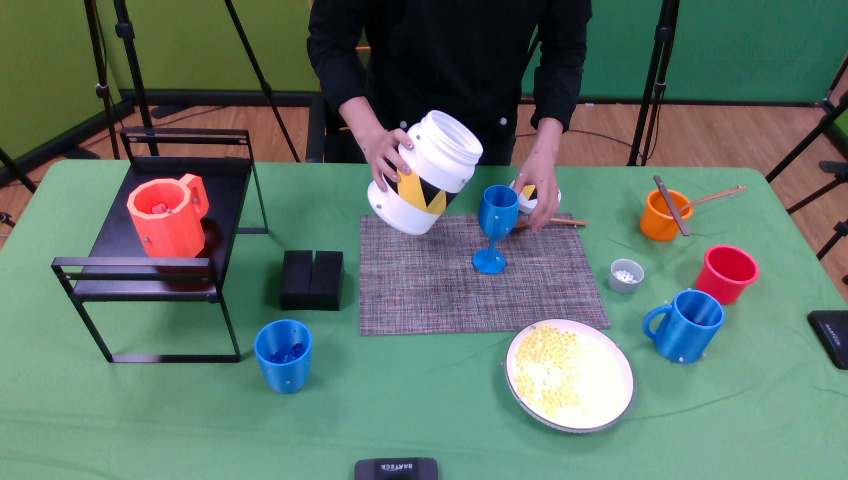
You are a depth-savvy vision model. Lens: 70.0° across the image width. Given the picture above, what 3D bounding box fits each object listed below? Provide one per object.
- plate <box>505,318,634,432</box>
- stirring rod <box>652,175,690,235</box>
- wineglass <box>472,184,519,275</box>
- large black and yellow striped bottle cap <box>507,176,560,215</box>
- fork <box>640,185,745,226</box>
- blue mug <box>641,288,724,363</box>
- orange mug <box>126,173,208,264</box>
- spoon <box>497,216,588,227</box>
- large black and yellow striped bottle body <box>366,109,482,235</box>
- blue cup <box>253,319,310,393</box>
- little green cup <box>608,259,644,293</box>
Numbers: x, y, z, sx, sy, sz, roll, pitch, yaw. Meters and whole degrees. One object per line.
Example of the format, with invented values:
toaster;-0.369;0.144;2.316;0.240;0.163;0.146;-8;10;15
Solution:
plate;0.235;0.221;0.991;0.209;0.038;0.208;2;45;-2
stirring rod;0.492;-0.072;1.211;0.014;0.006;0.175;-1;46;-6
wineglass;0.129;-0.018;1.113;0.074;0.173;0.073;2;46;-2
large black and yellow striped bottle cap;0.237;-0.098;1.312;0.115;0.019;0.114;2;43;-1
fork;0.534;-0.069;1.215;0.207;0.019;0.028;-26;27;33
blue mug;0.432;0.144;1.033;0.116;0.106;0.082;8;46;4
orange mug;-0.371;-0.040;0.902;0.083;0.101;0.126;18;52;14
spoon;0.246;-0.039;1.247;0.194;0.022;0.041;-1;26;-6
large black and yellow striped bottle body;0.001;-0.114;1.020;0.131;0.184;0.130;30;28;-18
blue cup;-0.217;0.187;0.943;0.093;0.101;0.092;4;45;-3
little green cup;0.379;0.070;1.147;0.061;0.039;0.061;3;45;-3
